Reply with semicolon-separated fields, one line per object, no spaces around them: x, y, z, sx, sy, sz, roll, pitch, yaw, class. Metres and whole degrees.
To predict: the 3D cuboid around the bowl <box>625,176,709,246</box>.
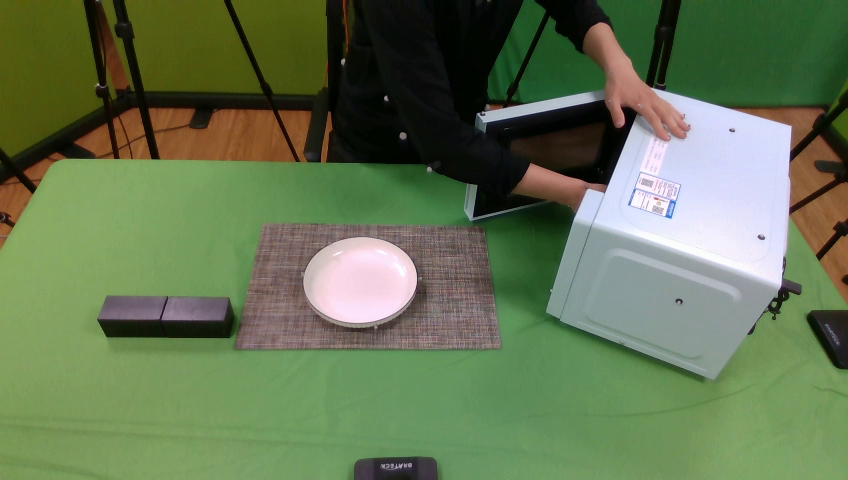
0.443;-0.041;1.138;0.151;0.077;0.150;3;50;-3;bowl

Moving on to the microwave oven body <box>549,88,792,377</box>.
0.456;-0.028;1.088;0.325;0.261;0.440;20;47;16;microwave oven body

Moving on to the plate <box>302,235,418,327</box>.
-0.114;0.077;1.098;0.208;0.039;0.206;2;46;-2;plate

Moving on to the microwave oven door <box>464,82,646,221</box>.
0.258;-0.175;1.208;0.356;0.245;0.039;-14;48;-17;microwave oven door

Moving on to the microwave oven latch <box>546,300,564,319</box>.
0.242;0.102;1.081;0.030;0.029;0.079;21;48;17;microwave oven latch
